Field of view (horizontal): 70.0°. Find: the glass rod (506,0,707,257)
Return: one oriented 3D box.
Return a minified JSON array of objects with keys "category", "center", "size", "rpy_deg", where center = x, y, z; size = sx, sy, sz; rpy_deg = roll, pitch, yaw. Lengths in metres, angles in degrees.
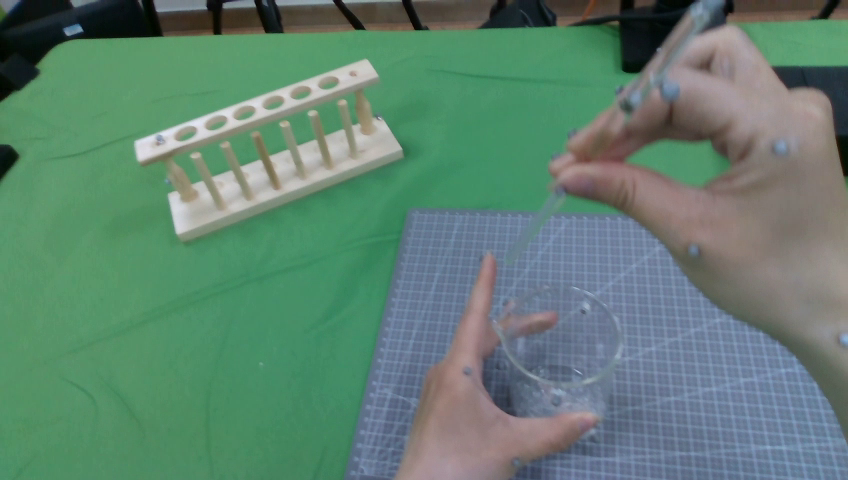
[{"category":"glass rod","center":[0.065,-0.031,0.263],"size":[0.008,0.200,0.008],"rpy_deg":[3,66,-8]}]

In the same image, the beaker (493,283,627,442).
[{"category":"beaker","center":[0.090,0.088,0.416],"size":[0.083,0.101,0.073],"rpy_deg":[10,53,17]}]

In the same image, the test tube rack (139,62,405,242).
[{"category":"test tube rack","center":[-0.148,-0.091,0.618],"size":[0.242,0.086,0.066],"rpy_deg":[-22,51,-9]}]
